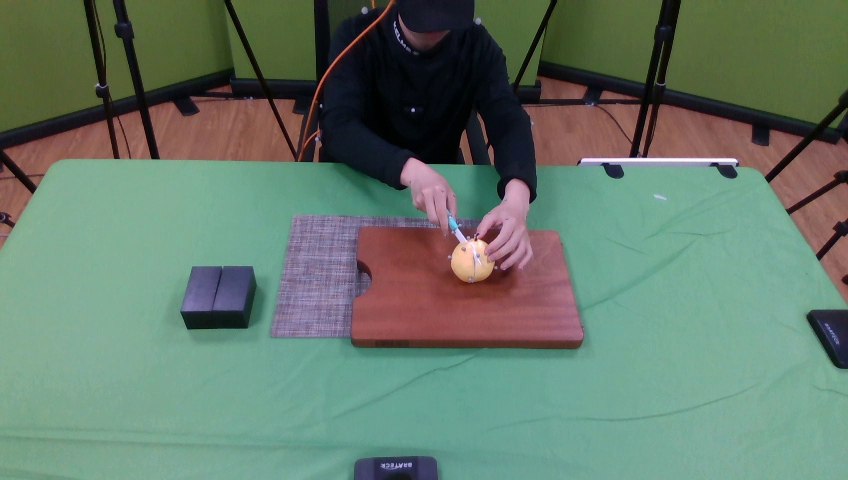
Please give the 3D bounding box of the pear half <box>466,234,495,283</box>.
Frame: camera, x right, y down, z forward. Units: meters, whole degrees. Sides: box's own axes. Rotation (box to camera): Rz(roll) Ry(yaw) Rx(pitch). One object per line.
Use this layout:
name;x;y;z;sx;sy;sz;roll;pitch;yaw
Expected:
pear half;0.100;0.025;1.085;0.056;0.110;0.076;-18;56;-17

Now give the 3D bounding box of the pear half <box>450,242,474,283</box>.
pear half;0.064;0.041;1.081;0.031;0.088;0.070;-20;53;-18

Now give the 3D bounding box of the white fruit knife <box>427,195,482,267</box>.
white fruit knife;0.055;-0.020;1.102;0.016;0.027;0.206;-18;47;-19
